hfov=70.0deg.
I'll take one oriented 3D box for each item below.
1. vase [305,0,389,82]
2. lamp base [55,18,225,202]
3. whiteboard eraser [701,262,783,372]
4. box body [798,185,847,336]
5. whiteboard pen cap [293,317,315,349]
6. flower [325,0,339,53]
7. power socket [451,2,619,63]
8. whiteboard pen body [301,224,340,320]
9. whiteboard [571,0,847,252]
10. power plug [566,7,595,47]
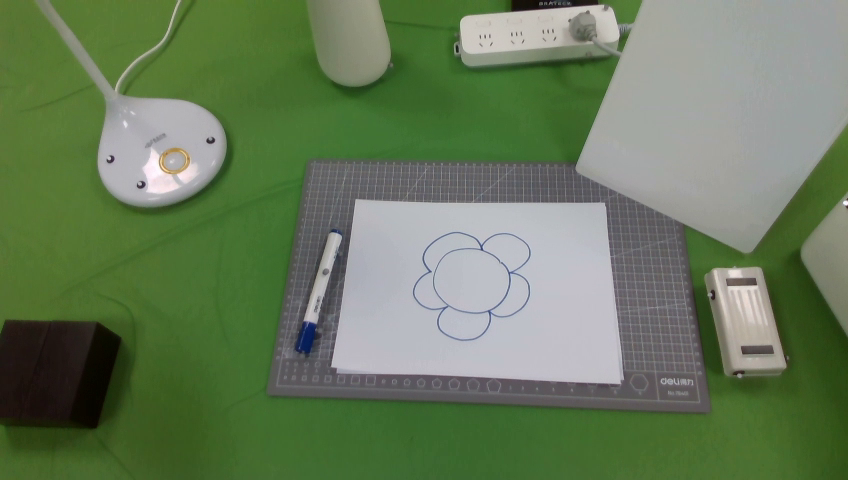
[{"bbox_3d":[-0.101,-0.289,0.744,0.098,0.201,0.097,-2,63,4],"label":"vase"},{"bbox_3d":[-0.347,-0.159,0.702,0.178,0.182,0.160,32,69,21],"label":"lamp base"},{"bbox_3d":[0.325,0.079,0.625,0.055,0.042,0.112,-1,63,2],"label":"whiteboard eraser"},{"bbox_3d":[0.558,0.082,0.542,0.254,0.161,0.360,-15,64,-5],"label":"box body"},{"bbox_3d":[-0.128,0.100,0.649,0.018,0.018,0.033,8,66,8],"label":"whiteboard pen cap"},{"bbox_3d":[-0.087,-0.318,0.666,0.044,0.362,0.038,-38,84,-24],"label":"flower"},{"bbox_3d":[0.150,-0.281,0.819,0.227,0.033,0.071,-3,64,1],"label":"power socket"},{"bbox_3d":[-0.117,0.047,0.672,0.017,0.017,0.140,9,66,8],"label":"whiteboard pen body"},{"bbox_3d":[0.327,-0.178,0.640,0.216,0.308,0.143,31,48,18],"label":"whiteboard"},{"bbox_3d":[0.201,-0.268,0.785,0.035,0.053,0.072,6,70,6],"label":"power plug"}]
